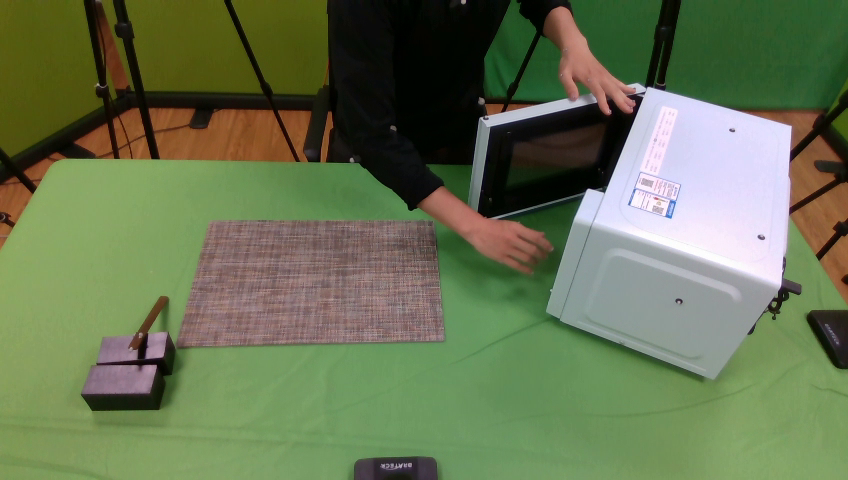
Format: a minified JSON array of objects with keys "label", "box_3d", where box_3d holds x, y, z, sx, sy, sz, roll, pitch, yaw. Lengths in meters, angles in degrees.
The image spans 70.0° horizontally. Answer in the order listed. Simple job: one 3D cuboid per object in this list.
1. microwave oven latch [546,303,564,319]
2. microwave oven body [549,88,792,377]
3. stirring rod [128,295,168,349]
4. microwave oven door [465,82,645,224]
[{"label":"microwave oven latch","box_3d":[0.242,0.102,1.081,0.030,0.029,0.079,22,48,17]},{"label":"microwave oven body","box_3d":[0.456,-0.028,1.088,0.325,0.261,0.440,20,47,16]},{"label":"stirring rod","box_3d":[-0.451,0.131,0.996,0.014,0.006,0.175,9,20,-10]},{"label":"microwave oven door","box_3d":[0.259,-0.172,1.205,0.356,0.245,0.039,-16,49,-18]}]
